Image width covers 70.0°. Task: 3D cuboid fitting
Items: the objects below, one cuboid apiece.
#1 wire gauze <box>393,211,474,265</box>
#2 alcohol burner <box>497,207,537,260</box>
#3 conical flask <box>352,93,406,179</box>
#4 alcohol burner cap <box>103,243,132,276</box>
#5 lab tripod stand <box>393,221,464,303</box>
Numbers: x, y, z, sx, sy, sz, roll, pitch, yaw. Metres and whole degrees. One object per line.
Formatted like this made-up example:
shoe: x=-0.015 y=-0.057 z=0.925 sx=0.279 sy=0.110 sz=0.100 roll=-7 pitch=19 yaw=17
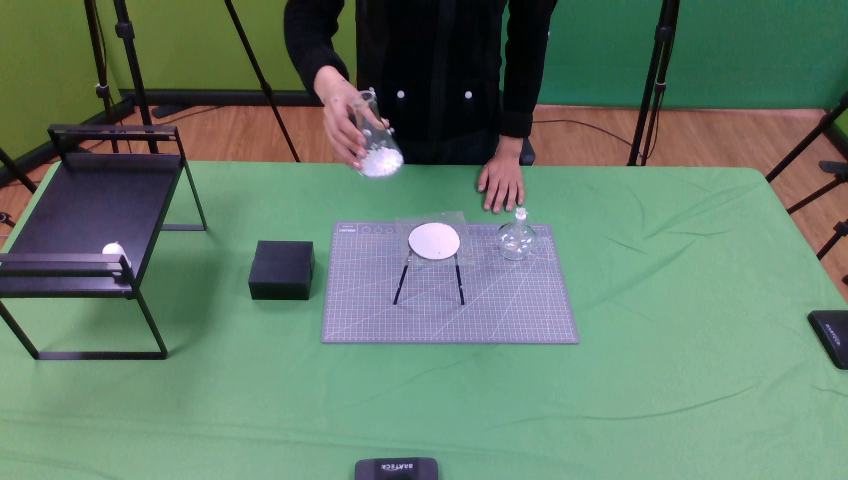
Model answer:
wire gauze: x=0.015 y=-0.003 z=1.028 sx=0.125 sy=0.011 sz=0.120 roll=-4 pitch=47 yaw=-7
alcohol burner: x=0.180 y=-0.019 z=1.163 sx=0.078 sy=0.120 sz=0.077 roll=1 pitch=48 yaw=-1
conical flask: x=-0.074 y=-0.156 z=0.898 sx=0.075 sy=0.122 sz=0.075 roll=-7 pitch=42 yaw=7
alcohol burner cap: x=-0.446 y=0.025 z=0.875 sx=0.034 sy=0.048 sz=0.033 roll=3 pitch=46 yaw=-3
lab tripod stand: x=0.010 y=0.045 z=1.074 sx=0.148 sy=0.132 sz=0.147 roll=2 pitch=48 yaw=-2
